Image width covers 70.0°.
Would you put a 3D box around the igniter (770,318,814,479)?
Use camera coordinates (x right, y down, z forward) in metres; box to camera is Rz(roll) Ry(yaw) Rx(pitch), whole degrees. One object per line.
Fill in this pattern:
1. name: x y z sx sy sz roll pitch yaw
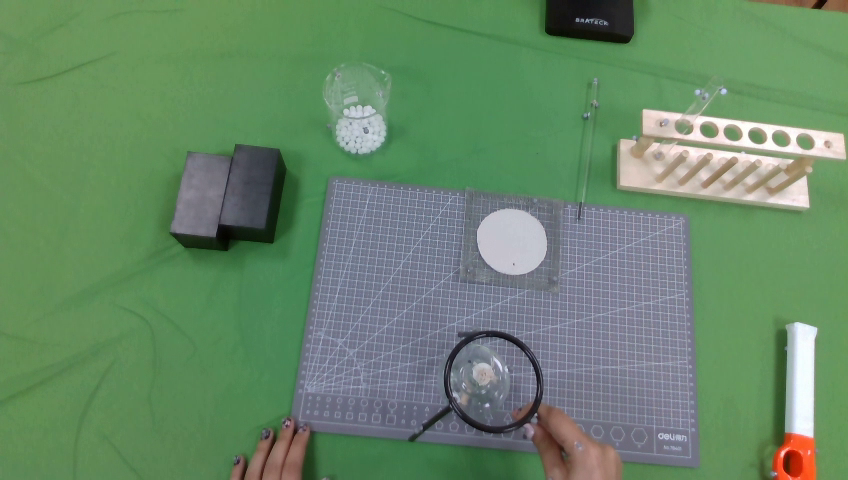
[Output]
1. igniter: 0.412 0.223 0.672 0.057 0.025 0.275 16 72 -9

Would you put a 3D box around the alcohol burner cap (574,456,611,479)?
1. alcohol burner cap: 0.181 0.246 0.642 0.034 0.048 0.033 1 71 -2

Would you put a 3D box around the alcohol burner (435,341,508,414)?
1. alcohol burner: 0.052 0.140 0.627 0.078 0.119 0.077 2 70 -5

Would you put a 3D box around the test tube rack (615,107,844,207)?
1. test tube rack: 0.367 -0.099 0.742 0.242 0.085 0.066 6 71 -1

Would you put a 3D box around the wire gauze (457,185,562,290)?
1. wire gauze: 0.104 -0.006 0.733 0.125 0.011 0.120 7 71 0

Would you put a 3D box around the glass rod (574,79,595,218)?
1. glass rod: 0.207 -0.120 0.777 0.008 0.008 0.198 11 73 0

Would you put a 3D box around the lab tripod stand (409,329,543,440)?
1. lab tripod stand: 0.051 0.142 0.589 0.148 0.132 0.147 3 66 -6

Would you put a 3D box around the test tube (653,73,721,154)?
1. test tube: 0.299 -0.141 0.699 0.017 0.151 0.017 1 68 -2

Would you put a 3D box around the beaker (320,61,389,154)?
1. beaker: -0.079 -0.155 0.723 0.084 0.101 0.073 -32 77 -13
